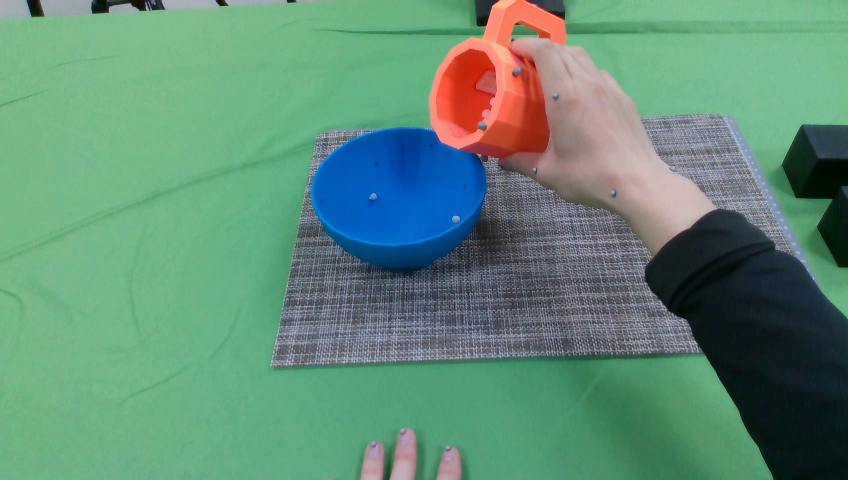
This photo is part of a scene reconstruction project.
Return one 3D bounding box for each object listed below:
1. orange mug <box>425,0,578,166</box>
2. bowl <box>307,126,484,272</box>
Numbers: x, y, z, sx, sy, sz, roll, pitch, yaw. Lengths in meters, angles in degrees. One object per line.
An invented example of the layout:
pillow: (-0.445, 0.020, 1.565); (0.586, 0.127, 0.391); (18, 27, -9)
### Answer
orange mug: (0.068, -0.128, 0.502); (0.101, 0.126, 0.082); (-1, 21, -39)
bowl: (-0.022, -0.025, 0.539); (0.151, 0.077, 0.150); (-2, 48, 3)
